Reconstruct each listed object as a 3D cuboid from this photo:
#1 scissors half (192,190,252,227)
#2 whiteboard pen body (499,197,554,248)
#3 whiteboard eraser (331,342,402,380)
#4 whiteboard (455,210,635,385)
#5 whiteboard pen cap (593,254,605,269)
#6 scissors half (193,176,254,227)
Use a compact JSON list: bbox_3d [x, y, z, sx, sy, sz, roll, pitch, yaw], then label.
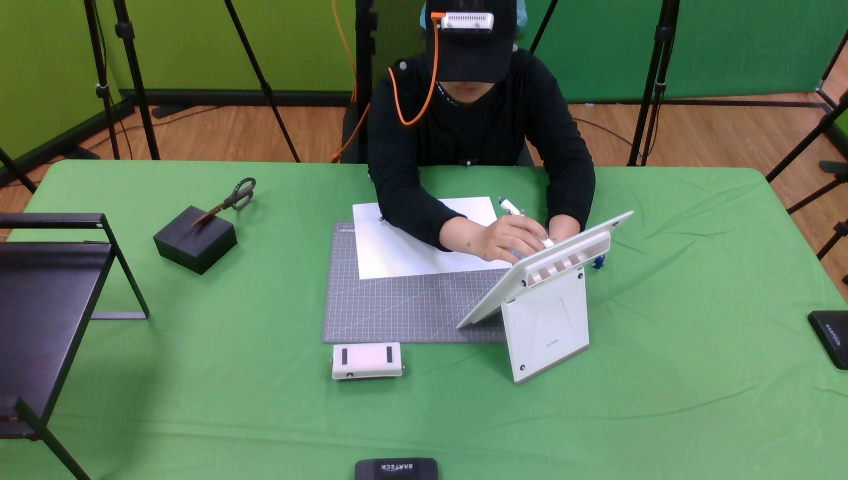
[{"bbox_3d":[-0.393,-0.060,1.187,0.013,0.040,0.175,25,29,11],"label":"scissors half"},{"bbox_3d":[0.174,-0.020,0.983,0.017,0.017,0.140,-34,69,-31],"label":"whiteboard pen body"},{"bbox_3d":[-0.094,0.198,0.986,0.113,0.042,0.055,-2,44,-6],"label":"whiteboard eraser"},{"bbox_3d":[0.211,0.111,0.955,0.217,0.306,0.143,-21,71,-23],"label":"whiteboard"},{"bbox_3d":[0.340,0.041,1.179,0.018,0.033,0.018,2,46,-1],"label":"whiteboard pen cap"},{"bbox_3d":[-0.387,-0.075,1.174,0.013,0.040,0.174,29,47,8],"label":"scissors half"}]
